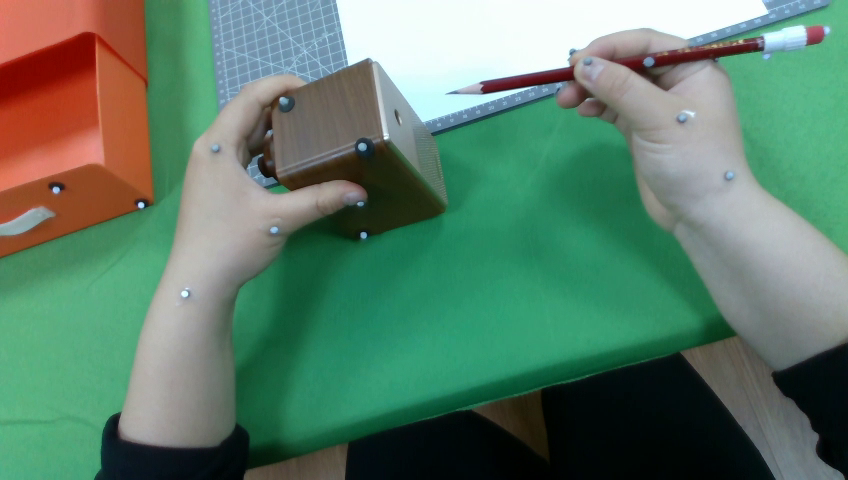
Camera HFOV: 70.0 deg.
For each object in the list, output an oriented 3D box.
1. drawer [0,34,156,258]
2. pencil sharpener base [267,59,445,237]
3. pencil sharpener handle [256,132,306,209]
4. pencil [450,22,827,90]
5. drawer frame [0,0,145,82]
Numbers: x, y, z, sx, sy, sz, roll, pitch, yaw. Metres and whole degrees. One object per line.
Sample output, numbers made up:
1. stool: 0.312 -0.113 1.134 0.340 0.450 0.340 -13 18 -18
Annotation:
1. drawer: -0.330 -0.099 0.493 0.194 0.074 0.210 -18 66 7
2. pencil sharpener base: -0.041 -0.052 0.387 0.076 0.108 0.061 -17 67 16
3. pencil sharpener handle: -0.092 -0.040 0.389 0.030 0.068 0.035 -17 63 16
4. pencil: 0.109 -0.097 0.328 0.194 0.012 0.012 -6 69 11
5. drawer frame: -0.359 -0.204 0.537 0.201 0.083 0.211 -18 66 7
